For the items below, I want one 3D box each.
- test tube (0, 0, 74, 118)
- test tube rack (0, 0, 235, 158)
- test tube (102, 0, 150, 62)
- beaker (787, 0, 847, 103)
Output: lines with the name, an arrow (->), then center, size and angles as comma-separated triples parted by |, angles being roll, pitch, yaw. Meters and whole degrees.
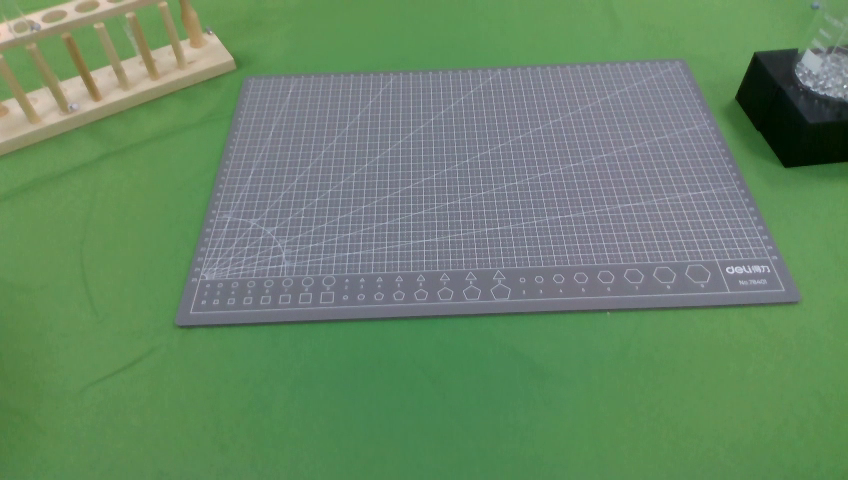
test tube -> -0.345, -0.170, 0.524 | 0.017, 0.152, 0.017 | -1, 48, 2
test tube rack -> -0.318, -0.171, 0.582 | 0.242, 0.086, 0.066 | -27, 54, -19
test tube -> -0.296, -0.232, 0.565 | 0.017, 0.152, 0.017 | -4, 51, 6
beaker -> 0.341, -0.169, 0.480 | 0.074, 0.101, 0.083 | -24, 53, -16
